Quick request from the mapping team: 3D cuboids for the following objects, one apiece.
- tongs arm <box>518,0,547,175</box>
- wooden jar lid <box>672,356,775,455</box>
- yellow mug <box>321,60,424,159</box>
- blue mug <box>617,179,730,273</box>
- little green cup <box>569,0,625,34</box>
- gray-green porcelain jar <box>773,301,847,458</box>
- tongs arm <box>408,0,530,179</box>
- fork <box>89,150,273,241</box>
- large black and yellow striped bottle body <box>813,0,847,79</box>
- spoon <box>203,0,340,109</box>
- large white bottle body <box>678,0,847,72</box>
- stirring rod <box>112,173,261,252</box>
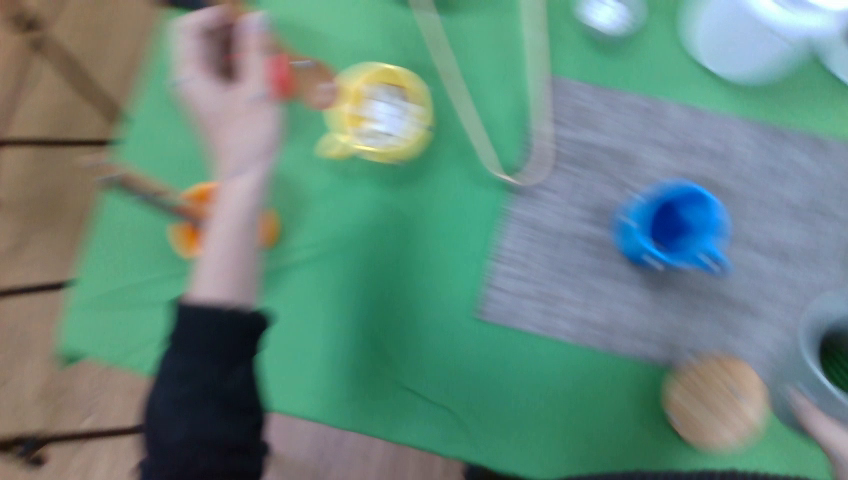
[{"bbox_3d":[0.102,-0.267,0.687,0.028,0.027,0.387,-10,93,-3],"label":"tongs arm"},{"bbox_3d":[0.329,0.182,0.672,0.108,0.021,0.108,0,90,7],"label":"wooden jar lid"},{"bbox_3d":[-0.065,-0.139,0.699,0.131,0.064,0.100,-37,86,3],"label":"yellow mug"},{"bbox_3d":[0.270,-0.005,0.641,0.116,0.106,0.082,40,90,6],"label":"blue mug"},{"bbox_3d":[0.197,-0.270,0.698,0.061,0.039,0.061,0,88,5],"label":"little green cup"},{"bbox_3d":[0.368,0.123,0.516,0.106,0.128,0.105,-5,58,9],"label":"gray-green porcelain jar"},{"bbox_3d":[0.022,-0.240,0.691,0.051,0.026,0.385,-24,92,1],"label":"tongs arm"},{"bbox_3d":[-0.260,-0.047,0.666,0.209,0.018,0.028,28,89,-38],"label":"fork"},{"bbox_3d":[0.499,-0.244,0.600,0.130,0.184,0.130,0,86,5],"label":"large black and yellow striped bottle body"},{"bbox_3d":[-0.130,-0.162,0.484,0.021,0.195,0.041,33,90,30],"label":"spoon"},{"bbox_3d":[0.349,-0.262,0.612,0.130,0.185,0.130,0,86,5],"label":"large white bottle body"},{"bbox_3d":[-0.256,-0.027,0.668,0.006,0.178,0.014,3,68,48],"label":"stirring rod"}]
